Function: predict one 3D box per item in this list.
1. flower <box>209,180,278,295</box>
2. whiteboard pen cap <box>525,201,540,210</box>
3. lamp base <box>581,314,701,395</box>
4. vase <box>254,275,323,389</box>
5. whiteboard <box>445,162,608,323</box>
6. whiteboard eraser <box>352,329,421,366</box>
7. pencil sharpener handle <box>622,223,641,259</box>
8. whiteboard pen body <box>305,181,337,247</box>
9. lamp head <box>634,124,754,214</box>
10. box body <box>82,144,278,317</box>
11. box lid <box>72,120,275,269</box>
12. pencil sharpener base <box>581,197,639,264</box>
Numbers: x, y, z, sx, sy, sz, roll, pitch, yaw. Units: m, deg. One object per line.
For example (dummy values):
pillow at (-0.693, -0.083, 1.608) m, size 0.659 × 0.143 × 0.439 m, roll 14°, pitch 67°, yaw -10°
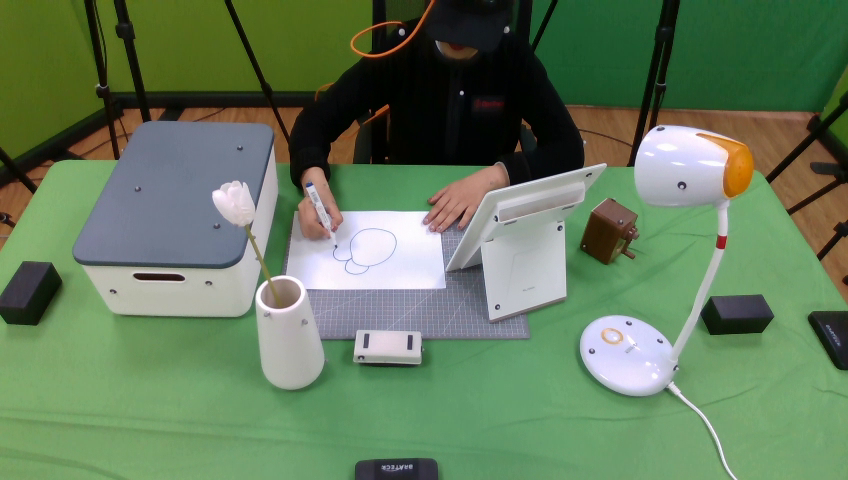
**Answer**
flower at (-0.216, 0.075, 0.871) m, size 0.044 × 0.363 × 0.038 m, roll -29°, pitch 36°, yaw -19°
whiteboard pen cap at (0.230, -0.074, 1.289) m, size 0.033 × 0.018 × 0.018 m, roll 5°, pitch 46°, yaw 4°
lamp base at (0.361, 0.144, 0.973) m, size 0.178 × 0.181 × 0.160 m, roll 34°, pitch 53°, yaw 23°
vase at (-0.209, 0.143, 0.921) m, size 0.098 × 0.201 × 0.097 m, roll 1°, pitch 46°, yaw -1°
whiteboard at (0.186, 0.025, 1.029) m, size 0.217 × 0.306 × 0.143 m, roll -14°, pitch 68°, yaw -17°
whiteboard eraser at (-0.061, 0.180, 1.005) m, size 0.113 × 0.042 × 0.055 m, roll 3°, pitch 48°, yaw -3°
pencil sharpener handle at (0.397, 0.002, 1.146) m, size 0.030 × 0.068 × 0.036 m, roll 37°, pitch 46°, yaw 27°
whiteboard pen body at (-0.194, -0.047, 1.155) m, size 0.017 × 0.141 × 0.017 m, roll -18°, pitch 22°, yaw 8°
lamp head at (0.351, -0.089, 0.776) m, size 0.112 × 0.113 × 0.122 m, roll -30°, pitch 30°, yaw -28°
box body at (-0.421, -0.041, 1.108) m, size 0.254 × 0.161 × 0.361 m, roll 2°, pitch 46°, yaw -3°
box lid at (-0.417, -0.094, 1.056) m, size 0.263 × 0.015 × 0.369 m, roll 2°, pitch 47°, yaw -3°
pencil sharpener base at (0.362, -0.017, 1.179) m, size 0.076 × 0.107 × 0.061 m, roll 37°, pitch 54°, yaw 27°
